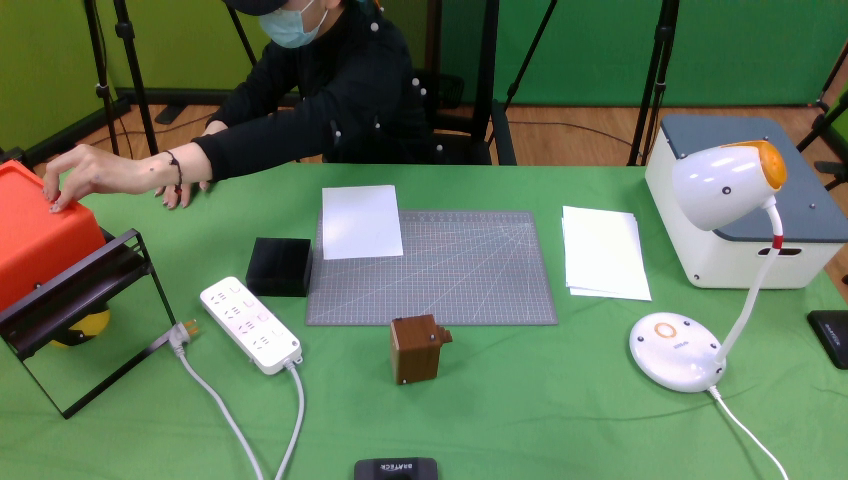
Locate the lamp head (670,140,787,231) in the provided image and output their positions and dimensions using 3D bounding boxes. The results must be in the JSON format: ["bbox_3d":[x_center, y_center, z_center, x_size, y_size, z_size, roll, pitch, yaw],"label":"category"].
[{"bbox_3d":[0.415,-0.078,0.811,0.113,0.123,0.112,12,70,-37],"label":"lamp head"}]

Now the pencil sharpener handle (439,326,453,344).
[{"bbox_3d":[0.035,0.155,0.976,0.031,0.068,0.036,-8,70,-11],"label":"pencil sharpener handle"}]

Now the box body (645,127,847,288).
[{"bbox_3d":[0.625,-0.080,1.222,0.254,0.161,0.361,0,46,-3],"label":"box body"}]

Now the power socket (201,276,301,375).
[{"bbox_3d":[-0.298,0.142,1.034,0.072,0.033,0.225,-34,58,-31],"label":"power socket"}]

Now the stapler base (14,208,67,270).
[{"bbox_3d":[-0.577,-0.009,0.903,0.041,0.024,0.130,-31,58,-25],"label":"stapler base"}]

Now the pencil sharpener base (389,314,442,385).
[{"bbox_3d":[-0.014,0.175,0.971,0.077,0.107,0.061,-8,47,-11],"label":"pencil sharpener base"}]

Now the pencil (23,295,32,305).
[{"bbox_3d":[-0.591,0.012,0.883,0.012,0.012,0.193,-18,62,-20],"label":"pencil"}]

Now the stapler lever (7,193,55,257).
[{"bbox_3d":[-0.575,-0.025,0.885,0.027,0.040,0.117,-31,56,-25],"label":"stapler lever"}]

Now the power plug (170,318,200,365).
[{"bbox_3d":[-0.393,0.168,1.014,0.052,0.035,0.072,-30,91,-23],"label":"power plug"}]

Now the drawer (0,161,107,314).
[{"bbox_3d":[-0.610,0.000,0.866,0.194,0.073,0.211,28,52,21],"label":"drawer"}]

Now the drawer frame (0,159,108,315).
[{"bbox_3d":[-0.612,0.000,0.863,0.201,0.083,0.213,27,51,20],"label":"drawer frame"}]

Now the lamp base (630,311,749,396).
[{"bbox_3d":[0.447,0.143,0.983,0.161,0.181,0.178,-24,55,-24],"label":"lamp base"}]

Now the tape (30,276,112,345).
[{"bbox_3d":[-0.594,0.117,1.021,0.117,0.053,0.116,2,45,-2],"label":"tape"}]

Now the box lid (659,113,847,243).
[{"bbox_3d":[0.628,-0.132,1.170,0.263,0.015,0.369,1,46,-3],"label":"box lid"}]
